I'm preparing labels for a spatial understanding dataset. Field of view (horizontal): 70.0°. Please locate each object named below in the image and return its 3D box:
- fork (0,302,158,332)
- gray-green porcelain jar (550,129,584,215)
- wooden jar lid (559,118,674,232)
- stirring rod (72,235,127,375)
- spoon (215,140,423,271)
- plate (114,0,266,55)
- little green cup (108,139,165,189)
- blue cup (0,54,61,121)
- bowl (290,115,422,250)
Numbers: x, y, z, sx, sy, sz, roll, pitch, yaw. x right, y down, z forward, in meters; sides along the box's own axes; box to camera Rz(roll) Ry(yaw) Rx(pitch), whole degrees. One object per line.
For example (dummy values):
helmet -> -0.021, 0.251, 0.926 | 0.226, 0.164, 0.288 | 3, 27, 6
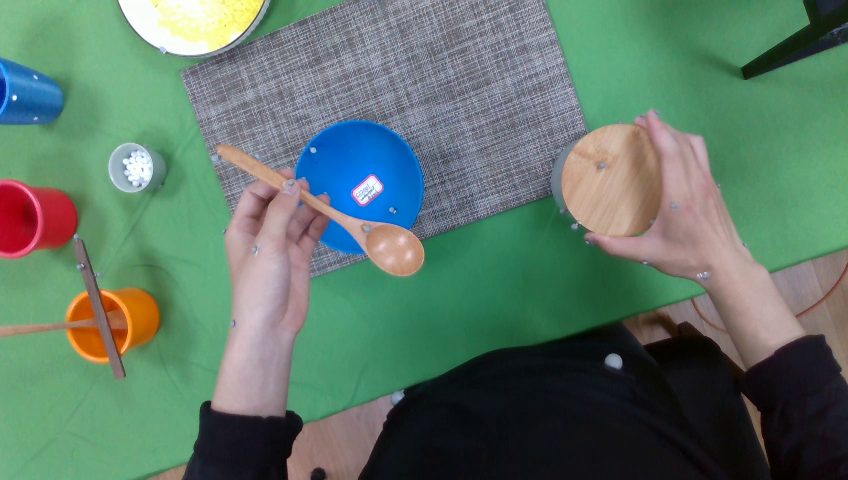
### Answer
fork -> -0.439, 0.098, 0.743 | 0.208, 0.018, 0.028 | -3, 99, -35
gray-green porcelain jar -> 0.191, -0.070, 0.648 | 0.106, 0.126, 0.106 | 1, 97, 6
wooden jar lid -> 0.185, -0.063, 0.587 | 0.108, 0.020, 0.108 | 1, 96, 6
stirring rod -> -0.392, 0.079, 0.731 | 0.014, 0.006, 0.176 | -17, 92, 8
spoon -> -0.086, -0.032, 0.509 | 0.194, 0.021, 0.041 | 31, 96, -13
plate -> -0.280, -0.329, 0.738 | 0.209, 0.038, 0.209 | 1, 95, 8
little green cup -> -0.363, -0.095, 0.770 | 0.061, 0.038, 0.061 | 1, 96, 9
blue cup -> -0.514, -0.186, 0.752 | 0.092, 0.100, 0.093 | 1, 96, 10
bowl -> -0.071, -0.066, 0.708 | 0.151, 0.077, 0.151 | 1, 95, 8
